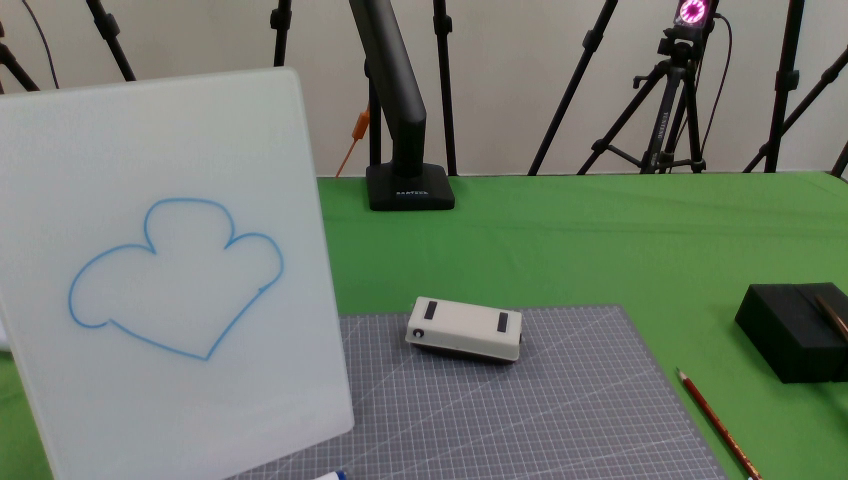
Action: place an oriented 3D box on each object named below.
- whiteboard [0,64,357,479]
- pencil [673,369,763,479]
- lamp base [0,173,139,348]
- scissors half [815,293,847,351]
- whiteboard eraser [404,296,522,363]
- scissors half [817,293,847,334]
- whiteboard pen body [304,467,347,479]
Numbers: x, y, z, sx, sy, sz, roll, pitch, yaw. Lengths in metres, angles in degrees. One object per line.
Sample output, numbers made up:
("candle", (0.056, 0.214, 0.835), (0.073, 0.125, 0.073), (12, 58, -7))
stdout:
("whiteboard", (-0.199, 0.028, 0.489), (0.218, 0.307, 0.142), (-14, 18, -24))
("pencil", (0.272, 0.181, 0.534), (0.012, 0.012, 0.192), (-3, 32, -11))
("lamp base", (-0.389, -0.014, 0.589), (0.178, 0.181, 0.160), (21, 37, 27))
("scissors half", (0.415, 0.109, 0.566), (0.013, 0.040, 0.173), (-6, 35, 1))
("whiteboard eraser", (0.041, 0.090, 0.606), (0.112, 0.042, 0.055), (9, 34, 7))
("scissors half", (0.418, 0.123, 0.580), (0.013, 0.040, 0.173), (-9, 54, 5))
("whiteboard pen body", (-0.123, 0.197, 0.440), (0.141, 0.017, 0.017), (-14, 38, -24))
